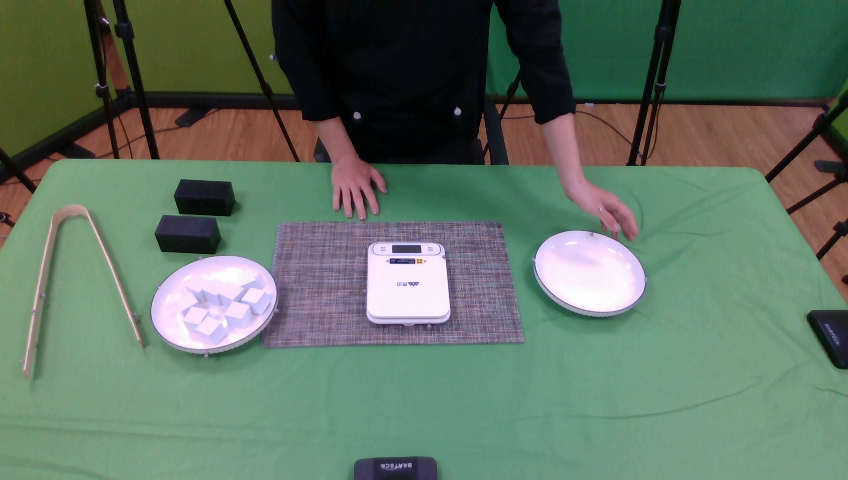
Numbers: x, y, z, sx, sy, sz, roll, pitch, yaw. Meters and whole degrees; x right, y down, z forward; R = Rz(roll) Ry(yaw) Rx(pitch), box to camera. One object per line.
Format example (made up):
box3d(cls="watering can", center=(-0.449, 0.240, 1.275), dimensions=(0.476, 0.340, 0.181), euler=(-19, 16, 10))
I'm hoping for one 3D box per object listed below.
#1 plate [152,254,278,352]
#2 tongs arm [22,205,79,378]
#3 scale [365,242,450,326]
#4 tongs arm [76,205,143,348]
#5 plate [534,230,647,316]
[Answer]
box3d(cls="plate", center=(-0.357, 0.111, 1.052), dimensions=(0.208, 0.039, 0.206), euler=(2, 46, -2))
box3d(cls="tongs arm", center=(-0.652, 0.074, 1.067), dimensions=(0.051, 0.026, 0.382), euler=(-11, 46, -15))
box3d(cls="scale", center=(-0.032, 0.071, 1.113), dimensions=(0.149, 0.032, 0.199), euler=(1, 46, -4))
box3d(cls="tongs arm", center=(-0.570, 0.054, 1.098), dimensions=(0.028, 0.028, 0.385), euler=(-26, 52, -22))
box3d(cls="plate", center=(0.311, 0.066, 1.145), dimensions=(0.209, 0.038, 0.208), euler=(2, 45, -2))
